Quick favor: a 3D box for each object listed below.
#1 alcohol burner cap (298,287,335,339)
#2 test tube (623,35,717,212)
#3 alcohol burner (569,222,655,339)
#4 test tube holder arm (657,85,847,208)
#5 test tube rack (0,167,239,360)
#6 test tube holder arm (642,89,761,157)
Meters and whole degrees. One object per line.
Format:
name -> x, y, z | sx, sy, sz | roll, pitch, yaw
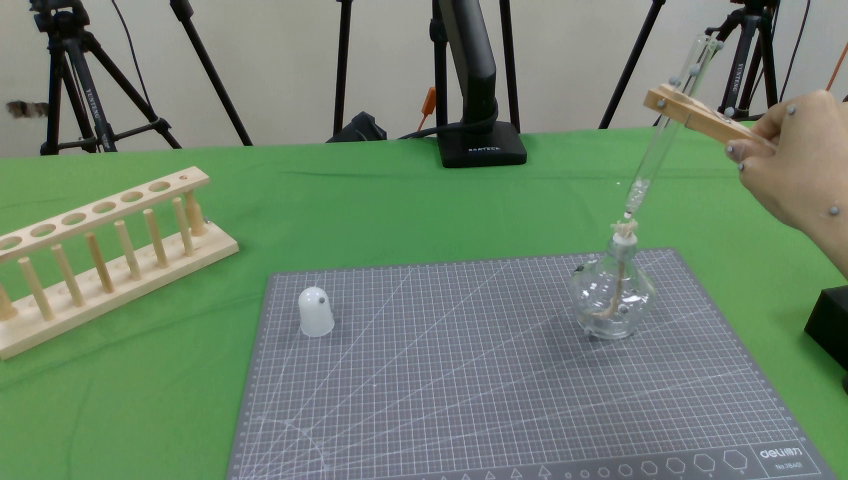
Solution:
alcohol burner cap -> -0.103, 0.066, 0.573 | 0.034, 0.048, 0.033 | -1, 36, 1
test tube -> 0.184, -0.082, 0.464 | 0.017, 0.151, 0.017 | 6, 40, -5
alcohol burner -> 0.174, 0.032, 0.552 | 0.078, 0.120, 0.077 | 0, 38, 0
test tube holder arm -> 0.232, -0.063, 0.416 | 0.013, 0.015, 0.176 | -24, 51, -31
test tube rack -> -0.321, 0.015, 0.617 | 0.242, 0.086, 0.066 | -29, 44, -34
test tube holder arm -> 0.199, -0.085, 0.436 | 0.087, 0.015, 0.010 | 35, 48, 27
